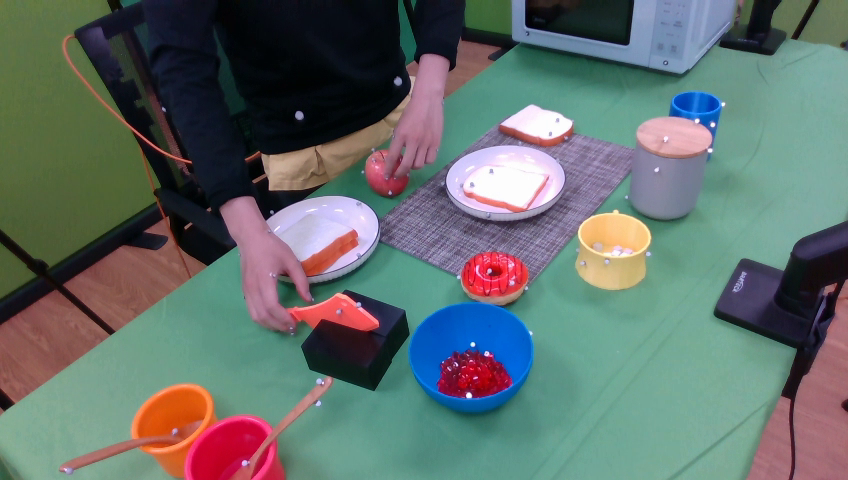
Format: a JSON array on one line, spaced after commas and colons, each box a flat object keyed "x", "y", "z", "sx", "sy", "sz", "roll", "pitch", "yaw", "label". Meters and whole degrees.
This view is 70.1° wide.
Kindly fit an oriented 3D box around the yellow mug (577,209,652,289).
[{"x": 0.279, "y": 0.004, "z": 0.893, "sx": 0.099, "sy": 0.064, "sz": 0.130, "roll": 5, "pitch": 41, "yaw": 14, "label": "yellow mug"}]

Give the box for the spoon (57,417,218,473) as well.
[{"x": -0.304, "y": 0.221, "z": 0.661, "sx": 0.041, "sy": 0.195, "sz": 0.021, "roll": 19, "pitch": 92, "yaw": 27, "label": "spoon"}]

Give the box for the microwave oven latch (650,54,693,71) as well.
[{"x": 0.531, "y": -0.386, "z": 1.301, "sx": 0.078, "sy": 0.029, "sz": 0.030, "roll": 26, "pitch": 51, "yaw": 33, "label": "microwave oven latch"}]

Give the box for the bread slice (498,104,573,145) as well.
[{"x": 0.231, "y": -0.231, "z": 1.205, "sx": 0.105, "sy": 0.019, "sz": 0.130, "roll": -36, "pitch": 47, "yaw": -29, "label": "bread slice"}]

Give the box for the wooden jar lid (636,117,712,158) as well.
[{"x": 0.377, "y": -0.151, "z": 0.917, "sx": 0.108, "sy": 0.021, "sz": 0.108, "roll": -2, "pitch": 41, "yaw": 3, "label": "wooden jar lid"}]

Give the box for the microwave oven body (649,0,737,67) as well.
[{"x": 0.475, "y": -0.602, "z": 1.411, "sx": 0.438, "sy": 0.261, "sz": 0.327, "roll": 23, "pitch": 50, "yaw": 32, "label": "microwave oven body"}]

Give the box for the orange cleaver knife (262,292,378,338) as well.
[{"x": -0.145, "y": 0.107, "z": 0.821, "sx": 0.210, "sy": 0.077, "sz": 0.012, "roll": -12, "pitch": 34, "yaw": 43, "label": "orange cleaver knife"}]

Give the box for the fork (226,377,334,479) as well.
[{"x": -0.163, "y": 0.216, "z": 0.647, "sx": 0.207, "sy": 0.019, "sz": 0.028, "roll": -49, "pitch": 41, "yaw": 16, "label": "fork"}]

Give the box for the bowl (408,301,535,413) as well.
[{"x": 0.060, "y": 0.156, "z": 0.739, "sx": 0.151, "sy": 0.077, "sz": 0.150, "roll": -4, "pitch": 40, "yaw": 4, "label": "bowl"}]

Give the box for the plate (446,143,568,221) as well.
[{"x": 0.143, "y": -0.096, "z": 1.045, "sx": 0.207, "sy": 0.039, "sz": 0.206, "roll": -4, "pitch": 40, "yaw": 4, "label": "plate"}]

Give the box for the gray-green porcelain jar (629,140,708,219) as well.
[{"x": 0.383, "y": -0.105, "z": 0.958, "sx": 0.106, "sy": 0.127, "sz": 0.105, "roll": -4, "pitch": 41, "yaw": 4, "label": "gray-green porcelain jar"}]

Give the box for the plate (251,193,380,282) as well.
[{"x": -0.173, "y": -0.001, "z": 0.984, "sx": 0.209, "sy": 0.038, "sz": 0.208, "roll": -3, "pitch": 40, "yaw": 3, "label": "plate"}]

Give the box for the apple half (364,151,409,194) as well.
[{"x": -0.068, "y": -0.114, "z": 1.076, "sx": 0.081, "sy": 0.075, "sz": 0.053, "roll": 0, "pitch": 47, "yaw": 2, "label": "apple half"}]

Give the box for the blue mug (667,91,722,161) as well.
[{"x": 0.474, "y": -0.207, "z": 1.079, "sx": 0.082, "sy": 0.106, "sz": 0.116, "roll": 4, "pitch": 42, "yaw": 13, "label": "blue mug"}]

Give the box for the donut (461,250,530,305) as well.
[{"x": 0.103, "y": 0.053, "z": 0.872, "sx": 0.099, "sy": 0.048, "sz": 0.098, "roll": -4, "pitch": 40, "yaw": 4, "label": "donut"}]

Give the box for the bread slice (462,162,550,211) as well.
[{"x": 0.135, "y": -0.094, "z": 1.045, "sx": 0.133, "sy": 0.018, "sz": 0.107, "roll": 15, "pitch": 45, "yaw": 23, "label": "bread slice"}]

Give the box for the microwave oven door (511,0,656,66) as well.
[{"x": 0.351, "y": -0.539, "z": 1.349, "sx": 0.353, "sy": 0.245, "sz": 0.039, "roll": 24, "pitch": 50, "yaw": 31, "label": "microwave oven door"}]

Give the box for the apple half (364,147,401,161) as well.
[{"x": -0.069, "y": -0.141, "z": 1.103, "sx": 0.081, "sy": 0.081, "sz": 0.032, "roll": -3, "pitch": 44, "yaw": 5, "label": "apple half"}]
